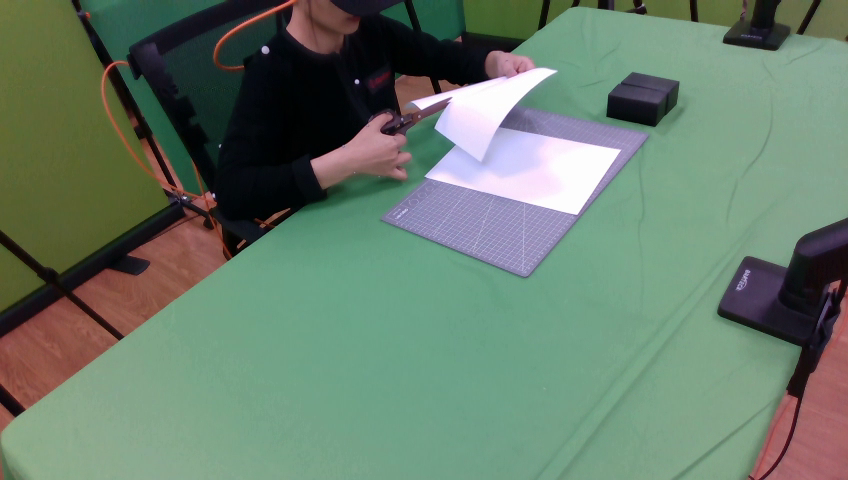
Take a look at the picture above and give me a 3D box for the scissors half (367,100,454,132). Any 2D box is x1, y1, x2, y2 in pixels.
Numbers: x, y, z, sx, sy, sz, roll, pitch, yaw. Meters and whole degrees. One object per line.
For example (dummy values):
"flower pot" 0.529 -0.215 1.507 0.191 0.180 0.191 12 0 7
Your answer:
"scissors half" -0.024 -0.237 1.123 0.176 0.040 0.012 -17 33 -17

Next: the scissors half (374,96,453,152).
"scissors half" -0.017 -0.220 1.135 0.175 0.040 0.012 -37 31 -4
